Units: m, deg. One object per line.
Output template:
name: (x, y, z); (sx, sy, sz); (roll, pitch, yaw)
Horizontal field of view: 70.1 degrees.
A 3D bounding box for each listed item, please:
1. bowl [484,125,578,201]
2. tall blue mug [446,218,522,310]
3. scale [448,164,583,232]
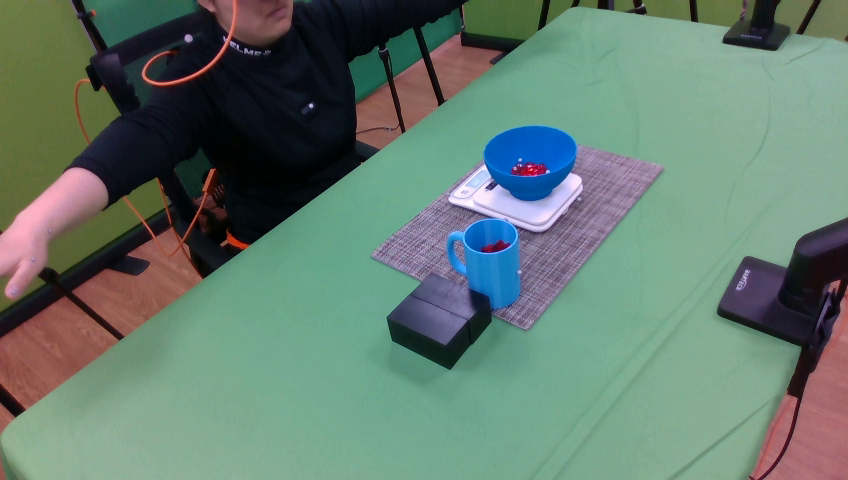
bowl: (0.175, -0.117, 0.991); (0.151, 0.077, 0.150); (-6, 40, 5)
tall blue mug: (0.082, 0.034, 0.852); (0.107, 0.108, 0.077); (-1, 41, 10)
scale: (0.156, -0.085, 1.040); (0.199, 0.032, 0.149); (22, 49, 32)
